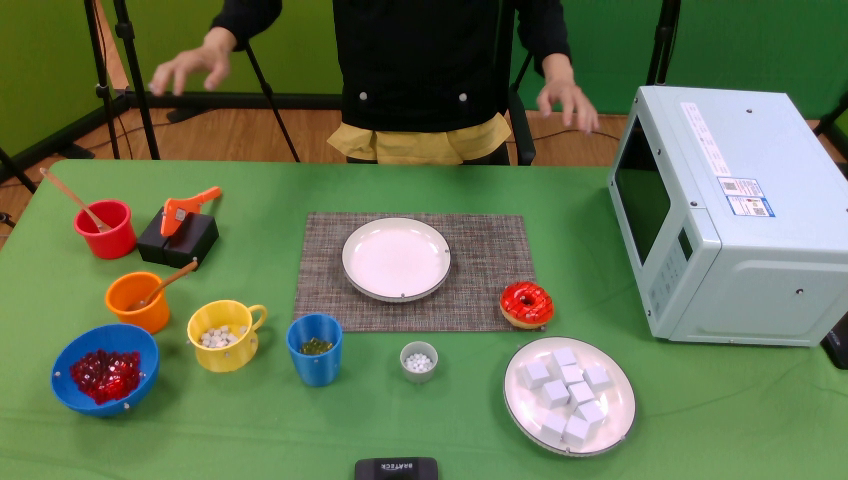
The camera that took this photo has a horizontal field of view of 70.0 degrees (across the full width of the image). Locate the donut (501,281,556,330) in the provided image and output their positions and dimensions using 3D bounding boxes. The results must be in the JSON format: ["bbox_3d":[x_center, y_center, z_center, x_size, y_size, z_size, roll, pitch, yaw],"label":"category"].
[{"bbox_3d":[0.185,0.116,1.079,0.099,0.048,0.098,3,45,-3],"label":"donut"}]

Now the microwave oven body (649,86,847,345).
[{"bbox_3d":[0.568,-0.053,1.118,0.326,0.261,0.439,2,45,-1],"label":"microwave oven body"}]

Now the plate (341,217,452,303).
[{"bbox_3d":[-0.052,0.039,1.140,0.209,0.038,0.208,2,46,-2],"label":"plate"}]

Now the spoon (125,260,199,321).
[{"bbox_3d":[-0.435,0.083,1.000,0.022,0.194,0.041,35,34,-35],"label":"spoon"}]

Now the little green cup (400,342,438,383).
[{"bbox_3d":[-0.010,0.202,0.991,0.061,0.039,0.061,2,47,-2],"label":"little green cup"}]

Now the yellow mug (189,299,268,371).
[{"bbox_3d":[-0.316,0.148,1.002,0.131,0.064,0.099,-32,56,-31],"label":"yellow mug"}]

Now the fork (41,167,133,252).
[{"bbox_3d":[-0.624,-0.055,1.121,0.208,0.018,0.028,49,52,-15],"label":"fork"}]

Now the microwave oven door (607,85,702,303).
[{"bbox_3d":[0.423,-0.094,1.141,0.039,0.245,0.353,2,46,-1],"label":"microwave oven door"}]

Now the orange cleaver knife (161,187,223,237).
[{"bbox_3d":[-0.448,-0.058,1.181,0.012,0.077,0.211,13,17,6],"label":"orange cleaver knife"}]

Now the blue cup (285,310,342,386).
[{"bbox_3d":[-0.170,0.179,0.958,0.093,0.101,0.092,2,44,-1],"label":"blue cup"}]

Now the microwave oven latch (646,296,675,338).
[{"bbox_3d":[0.412,0.134,1.061,0.030,0.029,0.078,4,45,1],"label":"microwave oven latch"}]

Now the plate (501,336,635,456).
[{"bbox_3d":[0.225,0.248,0.963,0.208,0.039,0.206,2,46,-2],"label":"plate"}]

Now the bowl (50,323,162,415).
[{"bbox_3d":[-0.472,0.209,0.924,0.151,0.077,0.150,2,45,-2],"label":"bowl"}]
